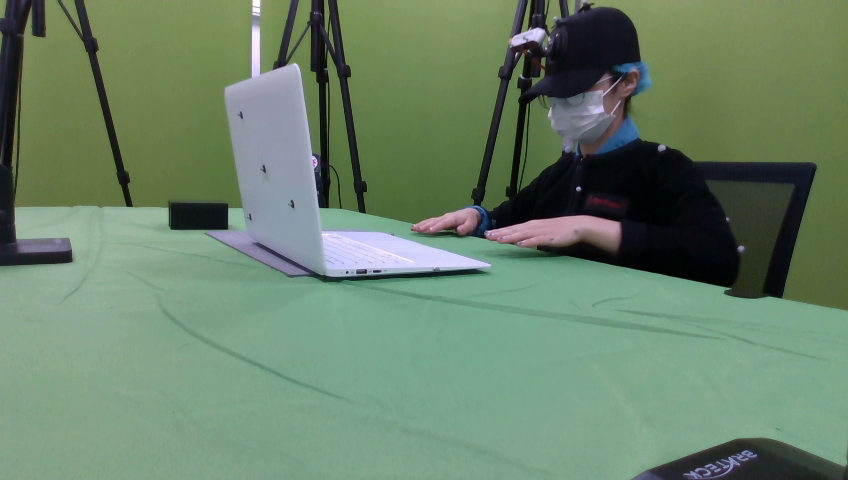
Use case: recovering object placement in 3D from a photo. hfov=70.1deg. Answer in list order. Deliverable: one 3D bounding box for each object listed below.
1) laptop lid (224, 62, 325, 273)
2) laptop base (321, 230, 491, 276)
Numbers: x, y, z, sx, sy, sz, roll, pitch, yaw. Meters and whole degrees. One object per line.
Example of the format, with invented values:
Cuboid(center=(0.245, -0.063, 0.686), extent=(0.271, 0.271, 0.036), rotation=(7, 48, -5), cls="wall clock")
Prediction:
Cuboid(center=(-0.210, -0.097, 0.804), extent=(0.013, 0.241, 0.355), rotation=(-12, 15, -28), cls="laptop lid")
Cuboid(center=(-0.095, 0.015, 0.888), extent=(0.237, 0.023, 0.352), rotation=(2, 7, -30), cls="laptop base")
